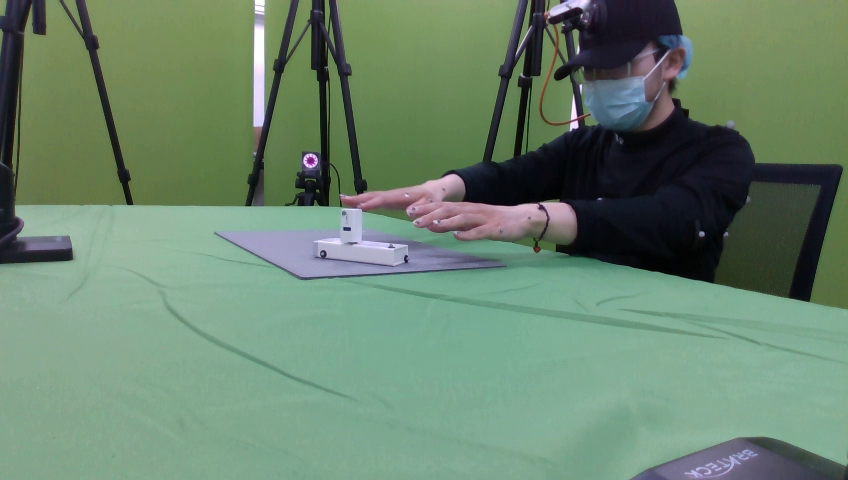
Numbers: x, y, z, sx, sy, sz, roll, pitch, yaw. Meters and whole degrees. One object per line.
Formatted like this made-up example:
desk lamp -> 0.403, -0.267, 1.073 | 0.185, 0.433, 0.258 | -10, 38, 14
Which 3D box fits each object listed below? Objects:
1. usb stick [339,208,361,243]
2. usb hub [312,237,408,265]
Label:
usb stick -> -0.100, -0.013, 0.815 | 0.021, 0.059, 0.027 | 5, 10, 20
usb hub -> -0.088, 0.014, 0.829 | 0.125, 0.025, 0.050 | 5, 8, 22
